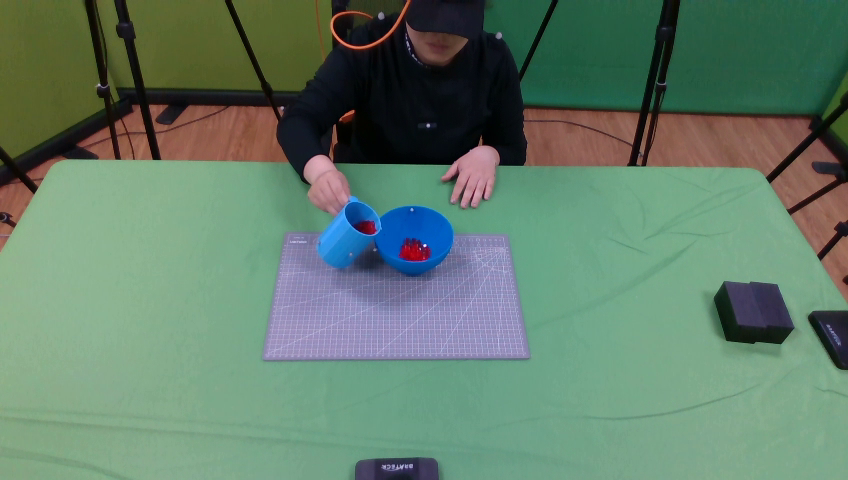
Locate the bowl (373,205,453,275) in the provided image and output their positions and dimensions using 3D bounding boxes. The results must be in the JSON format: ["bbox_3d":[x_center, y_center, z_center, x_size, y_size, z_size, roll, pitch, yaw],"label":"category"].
[{"bbox_3d":[-0.022,0.013,1.143,0.151,0.077,0.150,2,46,-2],"label":"bowl"}]

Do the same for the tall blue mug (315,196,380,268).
[{"bbox_3d":[-0.146,-0.022,1.093,0.078,0.108,0.107,-14,67,-47],"label":"tall blue mug"}]
